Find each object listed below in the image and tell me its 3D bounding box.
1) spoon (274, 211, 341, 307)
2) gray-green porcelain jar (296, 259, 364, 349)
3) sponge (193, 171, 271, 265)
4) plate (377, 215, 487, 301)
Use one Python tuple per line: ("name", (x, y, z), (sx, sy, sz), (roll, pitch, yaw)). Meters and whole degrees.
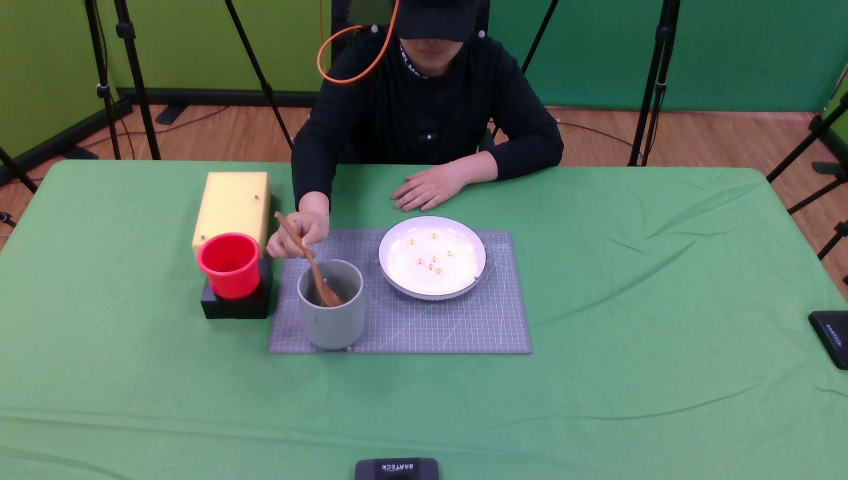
("spoon", (-0.184, 0.034, 0.965), (0.021, 0.194, 0.041), (-18, 24, 15))
("gray-green porcelain jar", (-0.152, 0.111, 1.003), (0.106, 0.127, 0.105), (2, 46, -2))
("sponge", (-0.371, -0.046, 1.188), (0.118, 0.061, 0.205), (-3, 46, -6))
("plate", (0.015, 0.037, 1.147), (0.208, 0.039, 0.206), (2, 46, -2))
